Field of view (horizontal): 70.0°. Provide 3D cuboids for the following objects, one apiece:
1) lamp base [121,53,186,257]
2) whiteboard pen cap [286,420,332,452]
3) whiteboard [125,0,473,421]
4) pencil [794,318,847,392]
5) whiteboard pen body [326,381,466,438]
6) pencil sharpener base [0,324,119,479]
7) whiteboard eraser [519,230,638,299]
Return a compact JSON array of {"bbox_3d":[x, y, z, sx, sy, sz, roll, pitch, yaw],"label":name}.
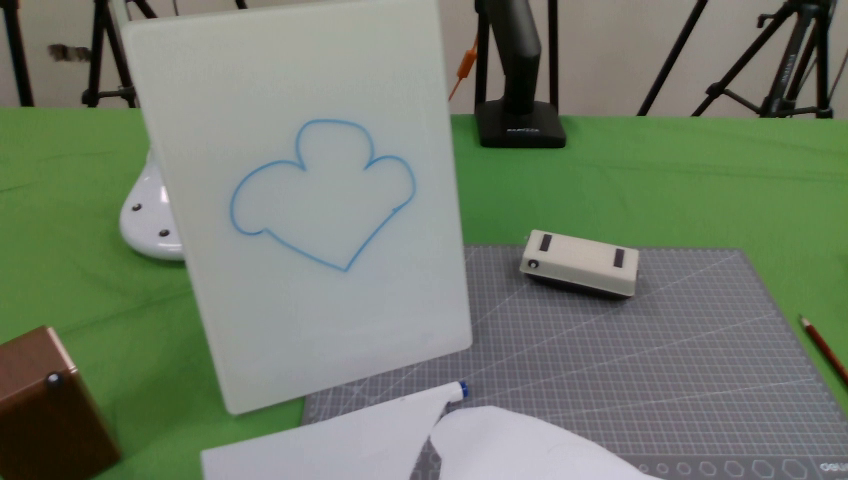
[{"bbox_3d":[-0.265,-0.099,0.646,0.177,0.182,0.160,28,46,33],"label":"lamp base"},{"bbox_3d":[-0.088,0.150,0.465,0.033,0.018,0.018,-13,41,-15],"label":"whiteboard pen cap"},{"bbox_3d":[-0.093,-0.039,0.526,0.218,0.307,0.142,-12,22,-15],"label":"whiteboard"},{"bbox_3d":[0.371,0.134,0.520,0.012,0.012,0.192,-1,37,-3],"label":"pencil"},{"bbox_3d":[-0.033,0.137,0.481,0.141,0.017,0.017,-12,41,-16],"label":"whiteboard pen body"},{"bbox_3d":[-0.275,0.126,0.425,0.077,0.108,0.061,-29,48,-31],"label":"pencil sharpener base"},{"bbox_3d":[0.157,0.026,0.614,0.112,0.042,0.055,13,41,14],"label":"whiteboard eraser"}]
